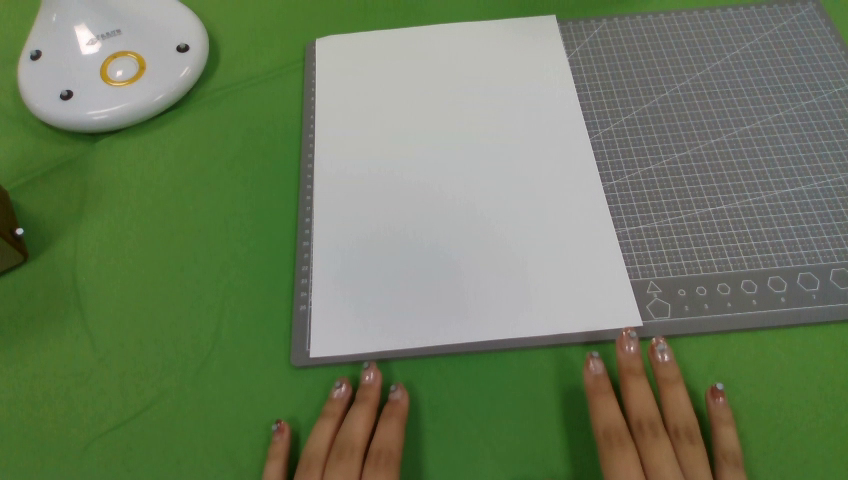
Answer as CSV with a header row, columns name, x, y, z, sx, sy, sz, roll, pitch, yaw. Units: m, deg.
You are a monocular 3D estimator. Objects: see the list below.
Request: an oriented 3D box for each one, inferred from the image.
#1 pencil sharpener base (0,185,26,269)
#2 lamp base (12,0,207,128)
name,x,y,z,sx,sy,sz,roll,pitch,yaw
pencil sharpener base,-0.329,-0.027,0.398,0.061,0.108,0.076,-30,61,-14
lamp base,-0.280,-0.205,0.459,0.160,0.182,0.177,-39,62,-19
